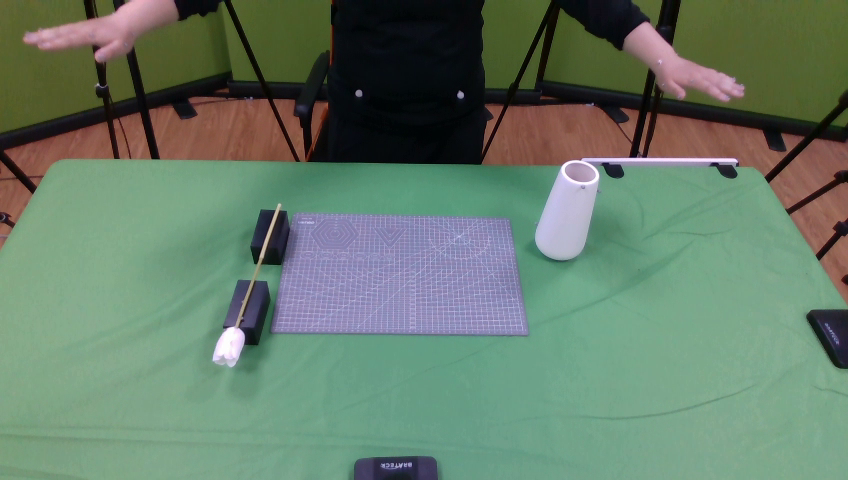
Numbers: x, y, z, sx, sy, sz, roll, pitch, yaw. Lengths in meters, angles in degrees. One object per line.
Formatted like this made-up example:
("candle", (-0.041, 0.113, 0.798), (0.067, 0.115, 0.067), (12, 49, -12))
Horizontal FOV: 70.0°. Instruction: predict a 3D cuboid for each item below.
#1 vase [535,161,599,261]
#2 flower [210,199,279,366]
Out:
("vase", (0.271, -0.051, 1.145), (0.098, 0.201, 0.097), (1, 46, -1))
("flower", (-0.298, 0.056, 1.054), (0.044, 0.038, 0.359), (-16, 44, 24))
